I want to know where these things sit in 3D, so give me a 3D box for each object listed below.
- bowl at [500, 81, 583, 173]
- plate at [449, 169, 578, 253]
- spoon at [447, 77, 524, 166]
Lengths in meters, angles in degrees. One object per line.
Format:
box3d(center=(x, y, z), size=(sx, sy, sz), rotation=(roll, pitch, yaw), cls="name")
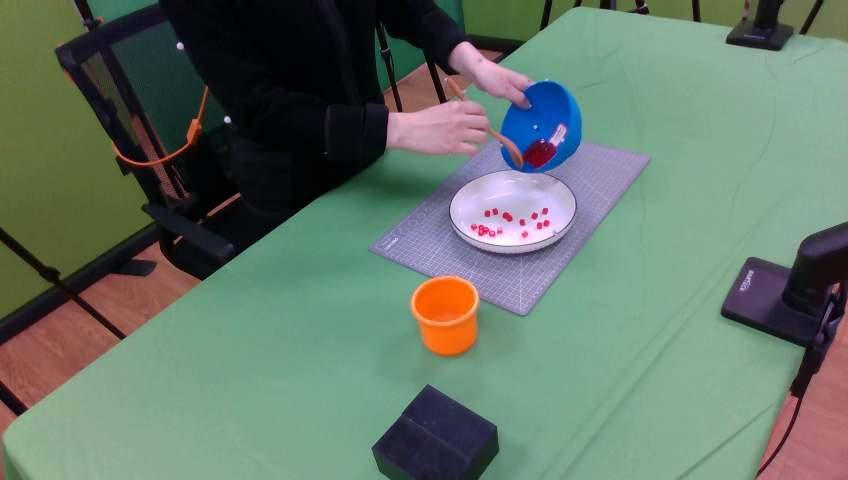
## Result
box3d(center=(0.205, -0.174, 0.987), size=(0.077, 0.151, 0.150), rotation=(12, 25, -38), cls="bowl")
box3d(center=(0.146, -0.044, 0.993), size=(0.209, 0.038, 0.208), rotation=(-5, 40, 5), cls="plate")
box3d(center=(0.097, -0.177, 0.920), size=(0.021, 0.195, 0.041), rotation=(-47, 32, 9), cls="spoon")
